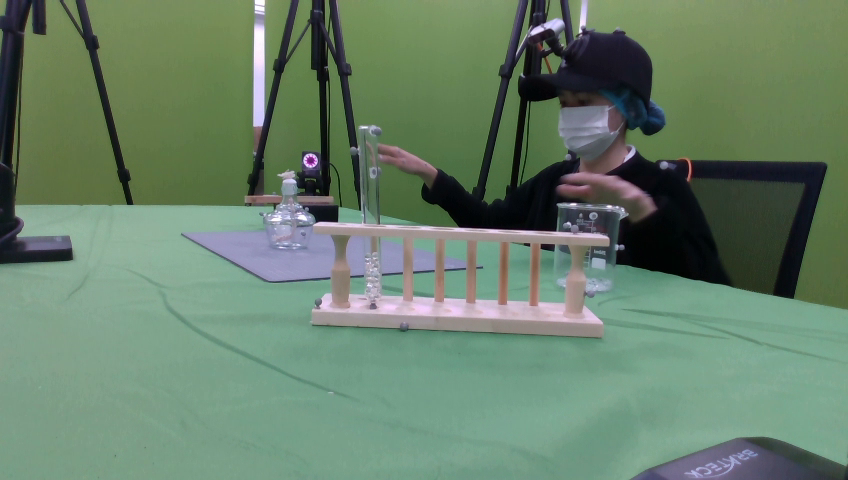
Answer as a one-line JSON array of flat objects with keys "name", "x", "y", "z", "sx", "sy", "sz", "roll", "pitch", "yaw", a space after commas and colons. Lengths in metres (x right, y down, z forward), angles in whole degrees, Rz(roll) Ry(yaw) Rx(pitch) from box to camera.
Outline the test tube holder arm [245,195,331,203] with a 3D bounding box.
[{"name": "test tube holder arm", "x": -0.266, "y": -0.080, "z": 1.199, "sx": 0.179, "sy": 0.015, "sz": 0.013, "roll": -3, "pitch": 20, "yaw": -37}]

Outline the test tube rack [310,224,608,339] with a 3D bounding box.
[{"name": "test tube rack", "x": 0.028, "y": 0.032, "z": 0.528, "sx": 0.242, "sy": 0.085, "sz": 0.067, "roll": 3, "pitch": 7, "yaw": 0}]

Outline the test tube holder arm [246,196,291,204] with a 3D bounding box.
[{"name": "test tube holder arm", "x": -0.300, "y": -0.077, "z": 1.168, "sx": 0.088, "sy": 0.015, "sz": 0.010, "roll": -3, "pitch": 20, "yaw": -36}]

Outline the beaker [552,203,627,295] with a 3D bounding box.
[{"name": "beaker", "x": 0.191, "y": 0.010, "z": 0.708, "sx": 0.083, "sy": 0.100, "sz": 0.074, "roll": 8, "pitch": 9, "yaw": 33}]

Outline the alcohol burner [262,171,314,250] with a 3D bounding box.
[{"name": "alcohol burner", "x": -0.205, "y": -0.045, "z": 0.913, "sx": 0.078, "sy": 0.119, "sz": 0.078, "roll": 1, "pitch": 9, "yaw": 0}]

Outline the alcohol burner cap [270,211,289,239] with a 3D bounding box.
[{"name": "alcohol burner cap", "x": -0.246, "y": -0.026, "z": 1.035, "sx": 0.034, "sy": 0.048, "sz": 0.034, "roll": 2, "pitch": 8, "yaw": 0}]

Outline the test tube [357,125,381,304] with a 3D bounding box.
[{"name": "test tube", "x": -0.045, "y": -0.019, "z": 0.501, "sx": 0.017, "sy": 0.150, "sz": 0.017, "roll": -1, "pitch": 12, "yaw": 0}]
